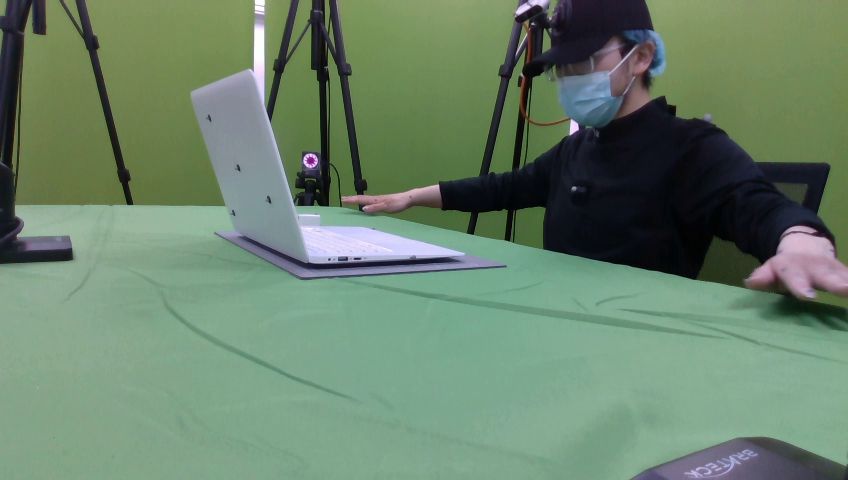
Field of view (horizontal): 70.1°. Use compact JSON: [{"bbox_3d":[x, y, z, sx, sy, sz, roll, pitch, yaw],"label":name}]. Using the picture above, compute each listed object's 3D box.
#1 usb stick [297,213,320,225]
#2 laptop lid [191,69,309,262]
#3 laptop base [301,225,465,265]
[{"bbox_3d":[-0.242,-0.040,1.221,0.059,0.027,0.021,-5,11,-28],"label":"usb stick"},{"bbox_3d":[-0.254,-0.103,0.842,0.013,0.242,0.355,-22,20,-27],"label":"laptop lid"},{"bbox_3d":[-0.128,0.005,0.937,0.237,0.023,0.352,2,7,-32],"label":"laptop base"}]
